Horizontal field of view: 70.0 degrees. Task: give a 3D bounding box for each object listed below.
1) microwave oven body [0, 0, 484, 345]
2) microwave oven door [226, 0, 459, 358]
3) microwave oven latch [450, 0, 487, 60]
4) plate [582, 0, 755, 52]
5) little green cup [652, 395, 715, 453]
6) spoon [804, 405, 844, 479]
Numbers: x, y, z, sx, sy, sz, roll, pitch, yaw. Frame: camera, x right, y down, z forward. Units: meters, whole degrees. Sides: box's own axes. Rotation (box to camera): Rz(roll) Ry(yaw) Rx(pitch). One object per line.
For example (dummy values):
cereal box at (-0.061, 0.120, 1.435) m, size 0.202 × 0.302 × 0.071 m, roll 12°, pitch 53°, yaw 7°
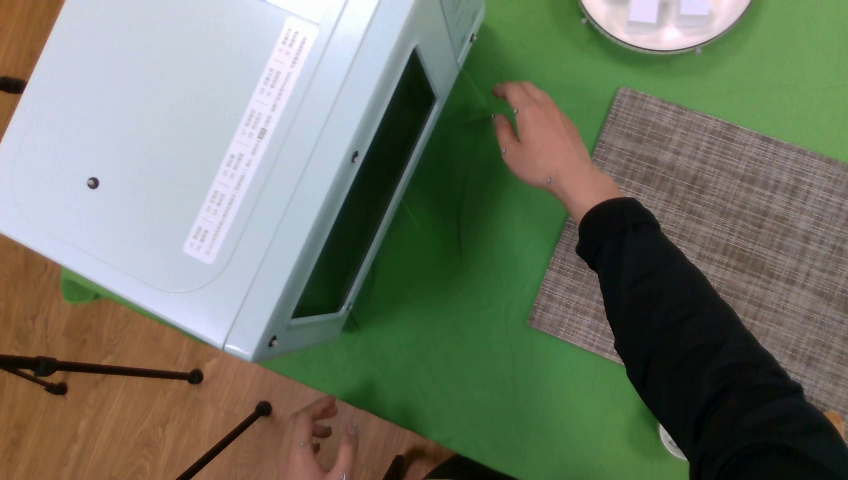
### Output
microwave oven body at (-0.175, -0.159, 0.635) m, size 0.325 × 0.261 × 0.441 m, roll 25°, pitch 91°, yaw 8°
microwave oven door at (-0.064, -0.060, 0.609) m, size 0.039 × 0.244 × 0.355 m, roll 25°, pitch 90°, yaw 9°
microwave oven latch at (0.046, -0.253, 0.705) m, size 0.030 × 0.029 × 0.079 m, roll 29°, pitch 92°, yaw 8°
plate at (0.278, -0.314, 0.695) m, size 0.207 × 0.039 × 0.207 m, roll -1°, pitch 87°, yaw 8°
little green cup at (0.282, 0.200, 0.667) m, size 0.061 × 0.039 × 0.061 m, roll -1°, pitch 85°, yaw 8°
spoon at (0.445, 0.270, 0.646) m, size 0.042 × 0.021 × 0.193 m, roll -14°, pitch 87°, yaw -10°
